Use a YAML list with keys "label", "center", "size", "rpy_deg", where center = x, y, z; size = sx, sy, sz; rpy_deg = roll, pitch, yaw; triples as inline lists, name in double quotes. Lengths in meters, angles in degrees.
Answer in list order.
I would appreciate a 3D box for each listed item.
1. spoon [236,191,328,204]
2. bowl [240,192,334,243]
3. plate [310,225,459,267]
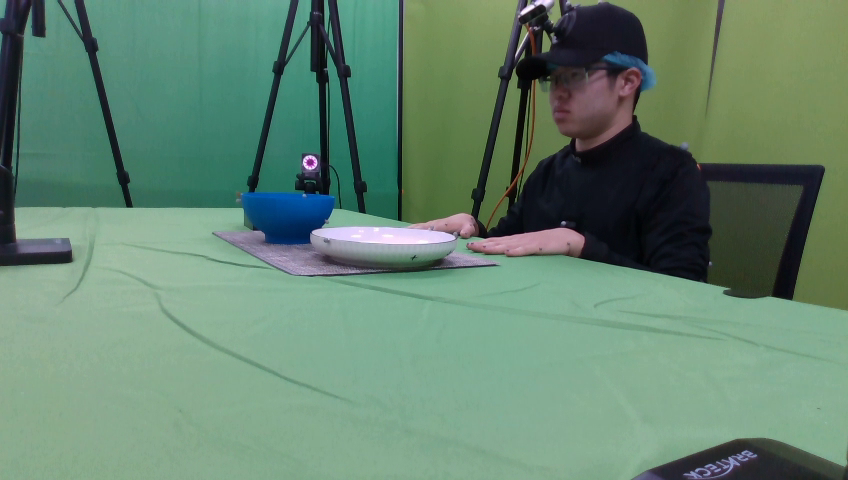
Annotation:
- label: "spoon"
  center: [-0.282, -0.085, 1.222]
  size: [0.195, 0.021, 0.041]
  rpy_deg: [-1, 8, -34]
- label: "bowl"
  center: [-0.223, -0.037, 0.992]
  size: [0.151, 0.077, 0.151]
  rpy_deg: [2, 7, 0]
- label: "plate"
  center: [-0.055, 0.008, 0.851]
  size: [0.208, 0.039, 0.207]
  rpy_deg: [2, 7, 0]
